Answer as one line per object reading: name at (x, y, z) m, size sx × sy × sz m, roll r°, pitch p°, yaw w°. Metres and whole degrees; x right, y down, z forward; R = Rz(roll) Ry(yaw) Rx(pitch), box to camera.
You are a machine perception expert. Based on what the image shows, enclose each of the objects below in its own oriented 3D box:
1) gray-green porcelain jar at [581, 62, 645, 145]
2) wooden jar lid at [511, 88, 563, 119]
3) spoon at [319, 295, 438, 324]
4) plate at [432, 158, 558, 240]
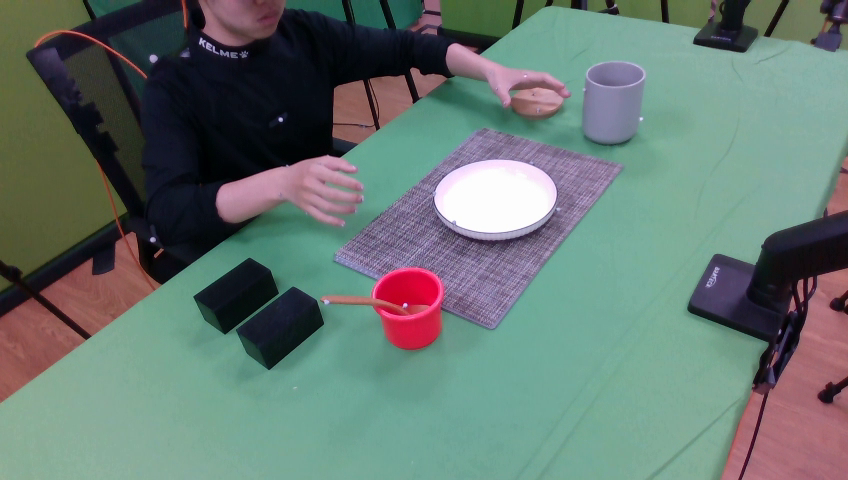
gray-green porcelain jar at (0.350, -0.251, 1.131) m, size 0.106 × 0.127 × 0.105 m, roll -4°, pitch 41°, yaw 4°
wooden jar lid at (0.237, -0.286, 1.272) m, size 0.108 × 0.021 × 0.108 m, roll -4°, pitch 42°, yaw 4°
spoon at (-0.055, 0.086, 0.784) m, size 0.195 × 0.021 × 0.041 m, roll 19°, pitch 19°, yaw -44°
plate at (0.118, -0.066, 1.013) m, size 0.207 × 0.039 × 0.206 m, roll -4°, pitch 41°, yaw 4°
